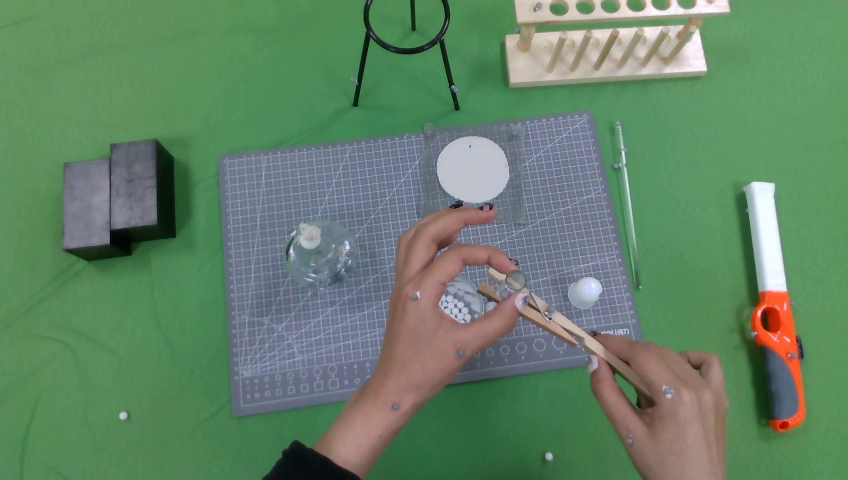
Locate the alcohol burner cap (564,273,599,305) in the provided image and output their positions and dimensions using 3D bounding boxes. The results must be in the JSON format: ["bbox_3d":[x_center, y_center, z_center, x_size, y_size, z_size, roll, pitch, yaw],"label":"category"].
[{"bbox_3d":[0.175,0.051,0.663,0.034,0.048,0.033,0,75,-1],"label":"alcohol burner cap"}]

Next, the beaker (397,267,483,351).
[{"bbox_3d":[0.015,0.077,0.624,0.084,0.101,0.073,-15,75,-4],"label":"beaker"}]

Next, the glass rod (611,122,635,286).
[{"bbox_3d":[0.233,-0.045,0.709,0.008,0.008,0.198,-2,78,-2],"label":"glass rod"}]

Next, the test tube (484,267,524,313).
[{"bbox_3d":[0.063,0.044,0.497,0.017,0.151,0.017,0,76,0],"label":"test tube"}]

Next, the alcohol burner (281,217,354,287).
[{"bbox_3d":[-0.115,0.008,0.632,0.078,0.120,0.077,0,74,2],"label":"alcohol burner"}]

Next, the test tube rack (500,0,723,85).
[{"bbox_3d":[0.218,-0.242,0.720,0.242,0.085,0.066,-4,75,-2],"label":"test tube rack"}]

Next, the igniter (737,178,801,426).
[{"bbox_3d":[0.383,0.063,0.674,0.057,0.025,0.275,3,75,-10],"label":"igniter"}]

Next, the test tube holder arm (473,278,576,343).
[{"bbox_3d":[0.079,0.055,0.471,0.087,0.015,0.010,28,75,5],"label":"test tube holder arm"}]

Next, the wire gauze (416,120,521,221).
[{"bbox_3d":[0.054,-0.085,0.714,0.125,0.011,0.121,3,77,-1],"label":"wire gauze"}]

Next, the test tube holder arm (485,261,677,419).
[{"bbox_3d":[0.119,0.076,0.467,0.178,0.015,0.013,38,77,8],"label":"test tube holder arm"}]

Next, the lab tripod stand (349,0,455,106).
[{"bbox_3d":[-0.026,-0.216,0.684,0.148,0.132,0.147,0,77,-1],"label":"lab tripod stand"}]
